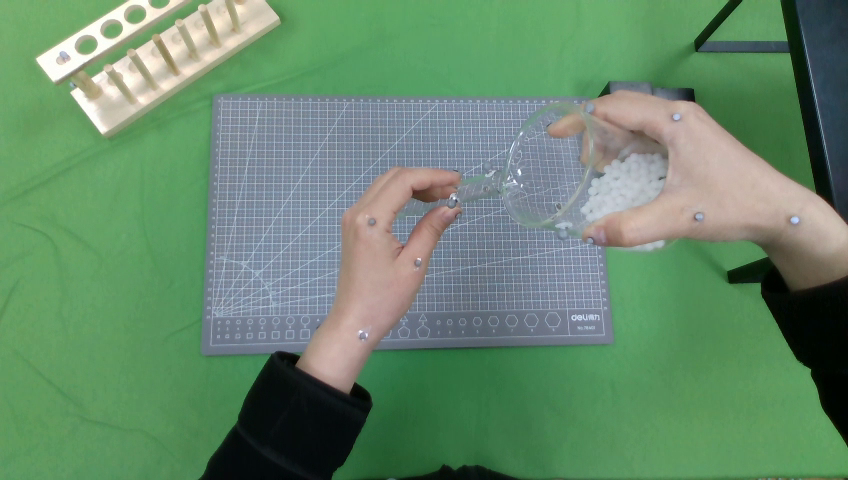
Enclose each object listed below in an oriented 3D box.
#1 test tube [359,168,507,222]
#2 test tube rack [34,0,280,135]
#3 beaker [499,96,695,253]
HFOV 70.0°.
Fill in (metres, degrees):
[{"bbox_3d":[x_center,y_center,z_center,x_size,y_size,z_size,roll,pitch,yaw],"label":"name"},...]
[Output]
[{"bbox_3d":[0.000,-0.029,0.435,0.017,0.149,0.017,7,79,-40],"label":"test tube"},{"bbox_3d":[-0.285,-0.226,0.673,0.242,0.085,0.066,-38,82,-11],"label":"test tube rack"},{"bbox_3d":[0.106,-0.034,0.372,0.101,0.083,0.073,14,74,-30],"label":"beaker"}]
